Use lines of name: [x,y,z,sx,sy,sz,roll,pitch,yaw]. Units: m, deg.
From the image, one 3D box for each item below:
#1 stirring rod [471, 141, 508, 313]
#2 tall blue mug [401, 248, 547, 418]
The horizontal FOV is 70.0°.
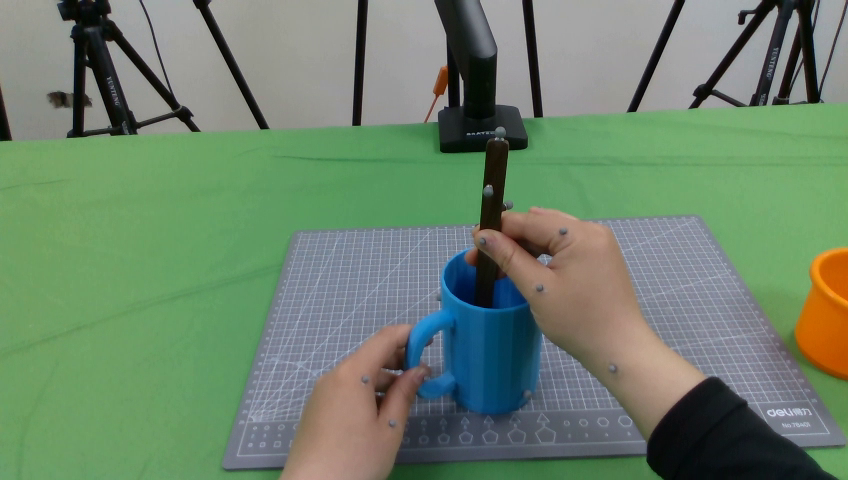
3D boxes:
stirring rod: [0.041,0.015,0.404,0.014,0.177,0.006,5,35,6]
tall blue mug: [0.042,0.079,0.451,0.077,0.109,0.107,19,41,26]
